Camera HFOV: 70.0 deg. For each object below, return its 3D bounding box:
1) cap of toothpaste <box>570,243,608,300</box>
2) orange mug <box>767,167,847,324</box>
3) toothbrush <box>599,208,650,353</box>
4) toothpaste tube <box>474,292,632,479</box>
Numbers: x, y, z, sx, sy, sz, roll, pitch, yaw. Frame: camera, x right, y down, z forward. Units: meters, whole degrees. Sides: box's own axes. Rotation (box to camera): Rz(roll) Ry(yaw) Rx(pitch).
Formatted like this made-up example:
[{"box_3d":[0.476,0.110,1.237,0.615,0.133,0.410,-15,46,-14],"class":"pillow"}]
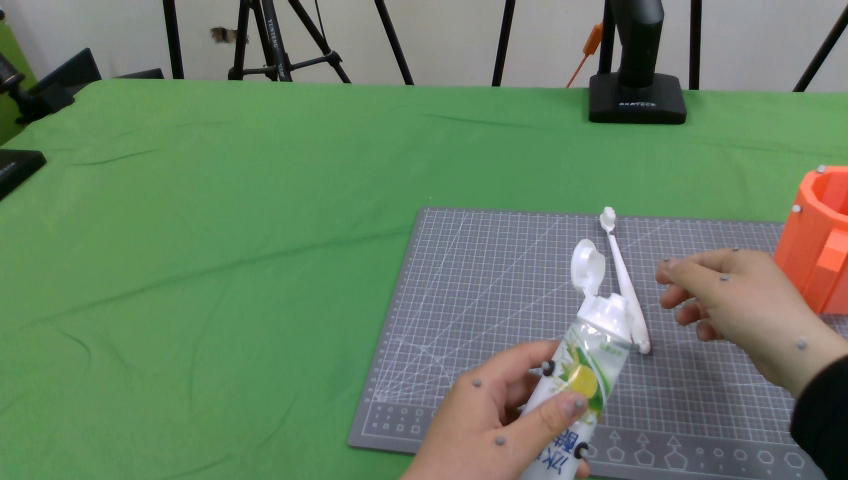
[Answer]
[{"box_3d":[0.103,0.019,0.373,0.011,0.037,0.037,1,34,44],"class":"cap of toothpaste"},{"box_3d":[0.341,0.009,0.502,0.083,0.102,0.126,24,44,31],"class":"orange mug"},{"box_3d":[0.184,0.030,0.559,0.014,0.017,0.180,9,42,-4],"class":"toothbrush"},{"box_3d":[0.077,0.104,0.358,0.054,0.035,0.165,26,89,24],"class":"toothpaste tube"}]
